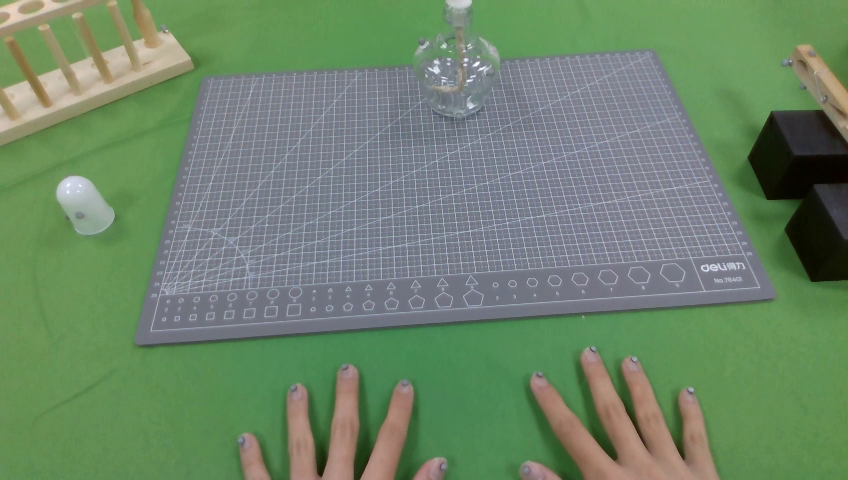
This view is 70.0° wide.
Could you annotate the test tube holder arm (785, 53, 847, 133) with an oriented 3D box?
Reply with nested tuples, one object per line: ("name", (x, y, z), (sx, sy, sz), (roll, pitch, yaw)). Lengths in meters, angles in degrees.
("test tube holder arm", (0.322, -0.090, 0.455), (0.015, 0.013, 0.176), (0, 49, -7))

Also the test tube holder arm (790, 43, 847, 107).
("test tube holder arm", (0.318, -0.128, 0.480), (0.015, 0.010, 0.087), (0, 50, -7))

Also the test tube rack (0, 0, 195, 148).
("test tube rack", (-0.349, -0.161, 0.554), (0.242, 0.086, 0.066), (-30, 57, -20))

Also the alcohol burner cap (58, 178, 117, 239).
("alcohol burner cap", (-0.267, -0.028, 0.475), (0.034, 0.048, 0.033), (-1, 51, 1))

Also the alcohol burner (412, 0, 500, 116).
("alcohol burner", (0.028, -0.167, 0.525), (0.078, 0.120, 0.077), (0, 53, 0))

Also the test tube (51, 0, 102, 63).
("test tube", (-0.329, -0.223, 0.538), (0.017, 0.151, 0.017), (-3, 52, 4))
